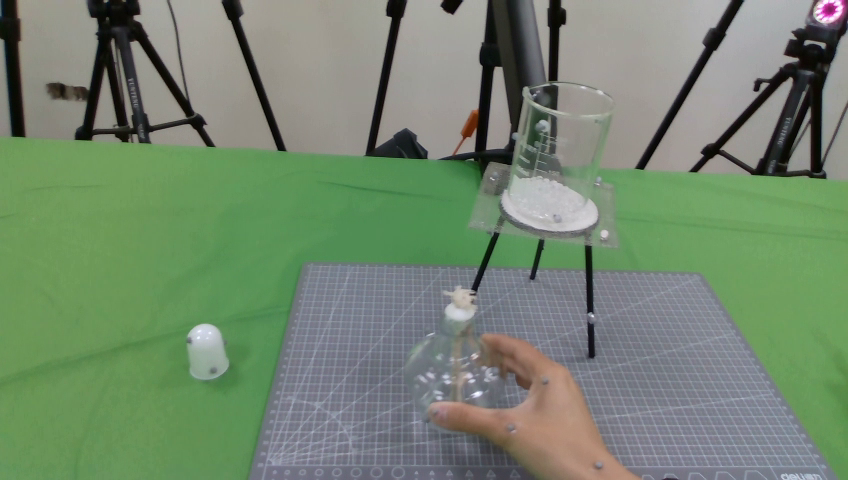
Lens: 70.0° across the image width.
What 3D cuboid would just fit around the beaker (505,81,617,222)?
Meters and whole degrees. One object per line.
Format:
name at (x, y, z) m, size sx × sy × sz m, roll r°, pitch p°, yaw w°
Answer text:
beaker at (0.107, -0.073, 0.507) m, size 0.074 × 0.101 × 0.083 m, roll -25°, pitch 44°, yaw -37°

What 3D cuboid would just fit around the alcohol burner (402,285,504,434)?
alcohol burner at (0.022, 0.085, 0.448) m, size 0.078 × 0.120 × 0.077 m, roll 0°, pitch 32°, yaw 0°

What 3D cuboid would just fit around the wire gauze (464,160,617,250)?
wire gauze at (0.106, -0.032, 0.532) m, size 0.121 × 0.011 × 0.124 m, roll 10°, pitch 37°, yaw 9°

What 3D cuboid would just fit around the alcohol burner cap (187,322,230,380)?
alcohol burner cap at (-0.186, 0.093, 0.520) m, size 0.034 × 0.048 × 0.033 m, roll 2°, pitch 34°, yaw -1°

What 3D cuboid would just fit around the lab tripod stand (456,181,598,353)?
lab tripod stand at (0.108, 0.023, 0.569) m, size 0.148 × 0.132 × 0.147 m, roll 5°, pitch 34°, yaw -3°
